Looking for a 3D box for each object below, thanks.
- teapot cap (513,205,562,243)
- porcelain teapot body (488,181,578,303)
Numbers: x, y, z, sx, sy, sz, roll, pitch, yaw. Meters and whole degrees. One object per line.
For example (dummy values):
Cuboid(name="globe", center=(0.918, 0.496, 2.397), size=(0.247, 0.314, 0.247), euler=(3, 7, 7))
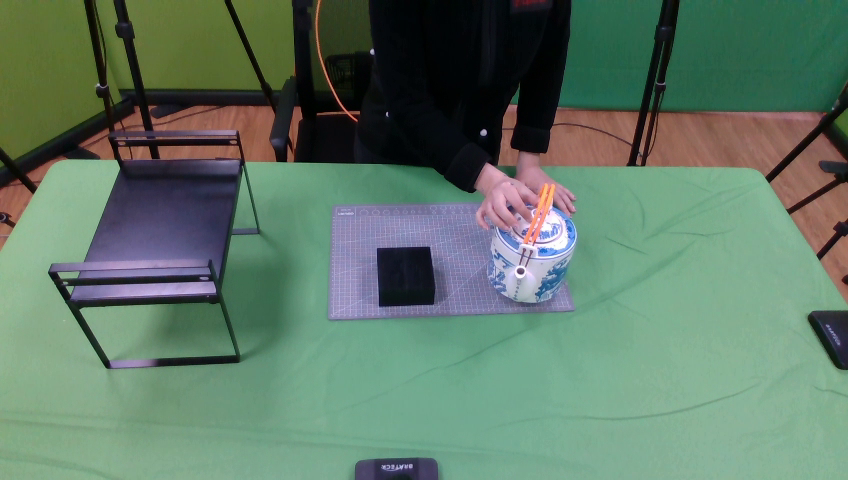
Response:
Cuboid(name="teapot cap", center=(0.196, -0.032, 1.037), size=(0.085, 0.044, 0.084), euler=(4, 50, -4))
Cuboid(name="porcelain teapot body", center=(0.186, 0.018, 1.048), size=(0.145, 0.226, 0.204), euler=(15, 48, 10))
